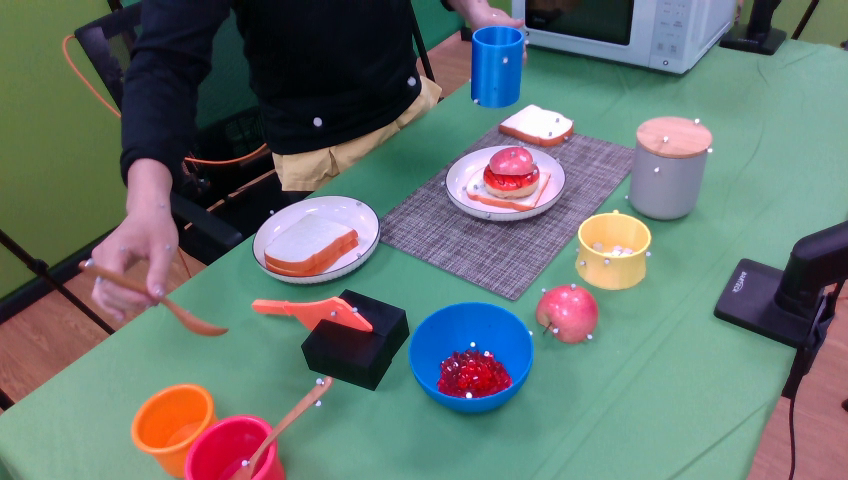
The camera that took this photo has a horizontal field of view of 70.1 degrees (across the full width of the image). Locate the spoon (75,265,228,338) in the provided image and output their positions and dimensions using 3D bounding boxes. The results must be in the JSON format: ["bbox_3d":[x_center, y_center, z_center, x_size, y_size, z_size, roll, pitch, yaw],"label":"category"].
[{"bbox_3d":[-0.281,0.068,0.639,0.041,0.195,0.021,-2,59,29],"label":"spoon"}]

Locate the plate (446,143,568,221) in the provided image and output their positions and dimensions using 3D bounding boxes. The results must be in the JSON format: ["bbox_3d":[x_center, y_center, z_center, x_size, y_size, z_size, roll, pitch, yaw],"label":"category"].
[{"bbox_3d":[0.142,-0.097,1.045,0.207,0.039,0.206,-4,40,4],"label":"plate"}]

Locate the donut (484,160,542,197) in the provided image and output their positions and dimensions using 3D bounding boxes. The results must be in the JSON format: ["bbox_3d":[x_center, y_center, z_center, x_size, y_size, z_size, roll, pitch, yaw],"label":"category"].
[{"bbox_3d":[0.149,-0.110,1.015,0.099,0.048,0.098,-4,40,4],"label":"donut"}]

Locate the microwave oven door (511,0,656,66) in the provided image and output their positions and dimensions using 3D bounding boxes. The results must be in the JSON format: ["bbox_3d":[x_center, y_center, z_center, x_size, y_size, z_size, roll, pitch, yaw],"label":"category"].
[{"bbox_3d":[0.351,-0.539,1.348,0.353,0.245,0.039,24,50,31],"label":"microwave oven door"}]

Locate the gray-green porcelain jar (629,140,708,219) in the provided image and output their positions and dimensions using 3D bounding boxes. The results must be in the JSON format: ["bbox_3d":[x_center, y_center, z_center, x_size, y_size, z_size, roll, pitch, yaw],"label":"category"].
[{"bbox_3d":[0.383,-0.105,0.958,0.106,0.127,0.105,-4,41,4],"label":"gray-green porcelain jar"}]

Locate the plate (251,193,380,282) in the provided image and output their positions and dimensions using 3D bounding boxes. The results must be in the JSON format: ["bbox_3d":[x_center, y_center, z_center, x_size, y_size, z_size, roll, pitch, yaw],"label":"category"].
[{"bbox_3d":[-0.174,-0.001,0.984,0.209,0.038,0.208,-3,40,3],"label":"plate"}]

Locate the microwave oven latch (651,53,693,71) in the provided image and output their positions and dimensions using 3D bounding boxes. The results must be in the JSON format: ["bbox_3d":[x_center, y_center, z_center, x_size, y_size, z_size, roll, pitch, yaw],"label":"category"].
[{"bbox_3d":[0.532,-0.386,1.301,0.078,0.029,0.030,27,52,34],"label":"microwave oven latch"}]

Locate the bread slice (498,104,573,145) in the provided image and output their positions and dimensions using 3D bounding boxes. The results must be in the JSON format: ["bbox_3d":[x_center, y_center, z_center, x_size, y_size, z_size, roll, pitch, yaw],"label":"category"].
[{"bbox_3d":[0.231,-0.232,1.205,0.105,0.019,0.130,-36,47,-29],"label":"bread slice"}]

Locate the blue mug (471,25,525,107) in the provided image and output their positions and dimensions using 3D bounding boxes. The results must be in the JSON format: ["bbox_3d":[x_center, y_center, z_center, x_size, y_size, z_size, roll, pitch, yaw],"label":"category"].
[{"bbox_3d":[0.125,-0.293,0.995,0.082,0.106,0.116,15,44,18],"label":"blue mug"}]

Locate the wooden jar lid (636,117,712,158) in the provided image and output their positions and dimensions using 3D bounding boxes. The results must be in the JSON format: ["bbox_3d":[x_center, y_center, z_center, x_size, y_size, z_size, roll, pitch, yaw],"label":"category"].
[{"bbox_3d":[0.377,-0.151,0.917,0.108,0.021,0.108,-2,41,2],"label":"wooden jar lid"}]

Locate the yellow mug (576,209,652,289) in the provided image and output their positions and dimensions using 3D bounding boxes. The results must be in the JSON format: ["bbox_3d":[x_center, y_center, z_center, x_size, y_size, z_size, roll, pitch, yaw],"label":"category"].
[{"bbox_3d":[0.279,0.004,0.893,0.099,0.064,0.130,6,42,14],"label":"yellow mug"}]

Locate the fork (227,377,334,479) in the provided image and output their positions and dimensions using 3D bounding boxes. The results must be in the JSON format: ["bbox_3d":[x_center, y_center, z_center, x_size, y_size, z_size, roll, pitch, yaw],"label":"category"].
[{"bbox_3d":[-0.162,0.216,0.647,0.207,0.019,0.028,-49,41,16],"label":"fork"}]

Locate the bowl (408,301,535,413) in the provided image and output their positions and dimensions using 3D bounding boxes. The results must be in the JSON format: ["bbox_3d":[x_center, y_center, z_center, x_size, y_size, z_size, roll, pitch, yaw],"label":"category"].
[{"bbox_3d":[0.060,0.156,0.739,0.151,0.077,0.150,-4,40,4],"label":"bowl"}]

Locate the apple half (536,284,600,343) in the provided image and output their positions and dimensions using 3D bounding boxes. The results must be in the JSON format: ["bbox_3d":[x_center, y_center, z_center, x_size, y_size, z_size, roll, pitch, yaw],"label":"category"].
[{"bbox_3d":[0.196,0.091,0.815,0.075,0.053,0.080,-22,42,-20],"label":"apple half"}]

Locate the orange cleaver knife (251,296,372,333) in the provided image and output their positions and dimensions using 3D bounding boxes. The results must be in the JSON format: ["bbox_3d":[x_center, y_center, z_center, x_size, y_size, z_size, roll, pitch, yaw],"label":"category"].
[{"bbox_3d":[-0.158,0.102,0.828,0.210,0.078,0.012,-3,43,39],"label":"orange cleaver knife"}]

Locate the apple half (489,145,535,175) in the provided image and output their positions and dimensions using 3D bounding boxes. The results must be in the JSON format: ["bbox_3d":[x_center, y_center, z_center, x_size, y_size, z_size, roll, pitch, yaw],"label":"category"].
[{"bbox_3d":[0.145,-0.138,0.995,0.081,0.033,0.081,-2,34,2],"label":"apple half"}]

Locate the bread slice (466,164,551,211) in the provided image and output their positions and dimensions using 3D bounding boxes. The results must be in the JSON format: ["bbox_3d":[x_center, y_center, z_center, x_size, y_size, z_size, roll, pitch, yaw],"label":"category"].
[{"bbox_3d":[0.141,-0.092,1.043,0.133,0.018,0.107,11,43,18],"label":"bread slice"}]

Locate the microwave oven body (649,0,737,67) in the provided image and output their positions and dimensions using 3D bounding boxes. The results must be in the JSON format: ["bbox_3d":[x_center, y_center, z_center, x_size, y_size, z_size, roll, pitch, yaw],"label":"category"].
[{"bbox_3d":[0.475,-0.602,1.411,0.438,0.261,0.327,23,50,32],"label":"microwave oven body"}]
